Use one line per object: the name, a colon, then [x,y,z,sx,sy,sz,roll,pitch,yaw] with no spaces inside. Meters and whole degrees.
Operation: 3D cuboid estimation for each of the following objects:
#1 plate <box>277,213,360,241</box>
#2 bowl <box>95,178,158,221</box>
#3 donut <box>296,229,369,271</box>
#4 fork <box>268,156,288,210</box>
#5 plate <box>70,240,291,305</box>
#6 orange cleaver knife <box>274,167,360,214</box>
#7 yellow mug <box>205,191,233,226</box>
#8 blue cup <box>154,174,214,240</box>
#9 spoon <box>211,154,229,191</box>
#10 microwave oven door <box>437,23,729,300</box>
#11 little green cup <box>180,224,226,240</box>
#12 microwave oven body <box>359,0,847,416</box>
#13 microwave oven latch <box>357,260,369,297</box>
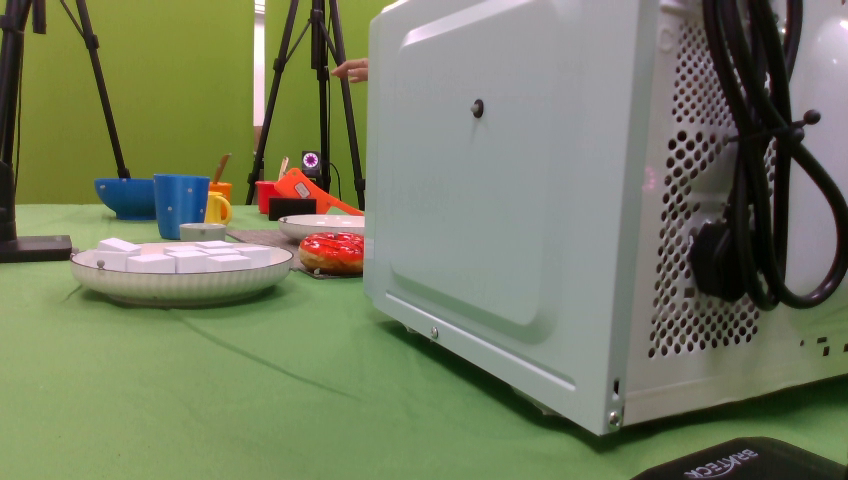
plate: [-0.135,-0.017,0.993,0.209,0.038,0.209,2,8,0]
bowl: [-0.576,-0.081,1.217,0.151,0.077,0.151,3,8,0]
donut: [-0.106,0.014,0.739,0.099,0.048,0.099,4,8,0]
fork: [-0.360,-0.144,1.507,0.028,0.018,0.207,1,49,0]
plate: [-0.242,0.031,0.618,0.208,0.039,0.207,2,8,0]
orange cleaver knife: [-0.238,-0.091,1.381,0.212,0.077,0.012,31,1,-19]
yellow mug: [-0.415,-0.057,1.132,0.130,0.064,0.100,6,8,16]
blue cup: [-0.390,-0.053,0.978,0.093,0.100,0.092,3,6,0]
spoon: [-0.431,-0.115,1.253,0.042,0.193,0.021,-3,54,-33]
microwave oven door: [0.181,-0.072,0.621,0.358,0.243,0.039,-2,8,-29]
little green cup: [-0.309,-0.001,0.846,0.061,0.038,0.061,2,8,0]
microwave oven body: [0.211,-0.047,0.474,0.444,0.260,0.324,-1,7,-28]
microwave oven latch: [-0.019,0.033,0.531,0.079,0.029,0.030,-1,7,-26]
